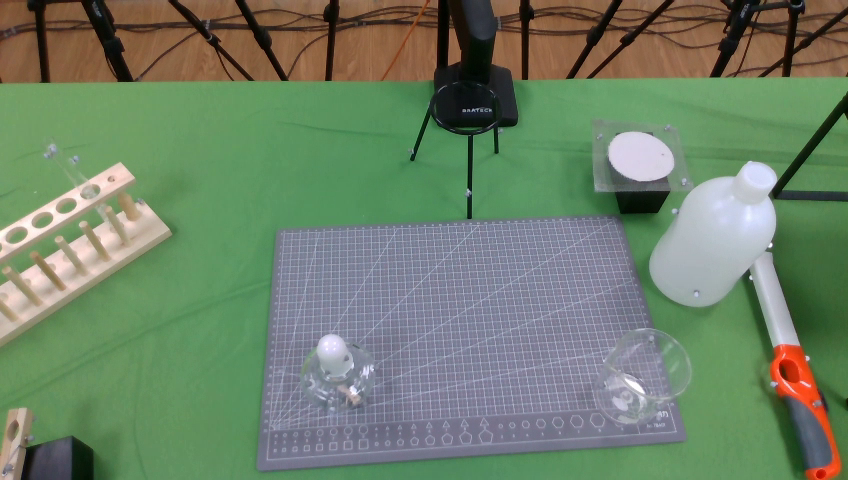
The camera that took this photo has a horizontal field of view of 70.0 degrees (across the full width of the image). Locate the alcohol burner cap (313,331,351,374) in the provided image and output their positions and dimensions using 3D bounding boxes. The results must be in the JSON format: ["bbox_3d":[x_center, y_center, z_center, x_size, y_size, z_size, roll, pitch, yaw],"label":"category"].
[{"bbox_3d":[-0.091,0.107,0.587,0.034,0.048,0.033,-2,57,3],"label":"alcohol burner cap"}]

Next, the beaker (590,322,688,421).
[{"bbox_3d":[0.215,0.140,0.628,0.084,0.101,0.073,2,56,1],"label":"beaker"}]

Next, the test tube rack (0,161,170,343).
[{"bbox_3d":[-0.429,0.017,0.696,0.242,0.086,0.066,-39,66,-24],"label":"test tube rack"}]

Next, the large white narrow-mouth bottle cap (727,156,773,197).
[{"bbox_3d":[0.326,-0.064,0.608,0.038,0.024,0.037,1,57,-1],"label":"large white narrow-mouth bottle cap"}]

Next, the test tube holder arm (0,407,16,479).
[{"bbox_3d":[-0.386,0.200,0.561,0.010,0.015,0.087,-10,62,1],"label":"test tube holder arm"}]

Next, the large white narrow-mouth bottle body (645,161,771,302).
[{"bbox_3d":[0.324,-0.015,0.680,0.102,0.196,0.101,1,56,-1],"label":"large white narrow-mouth bottle body"}]

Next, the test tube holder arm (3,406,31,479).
[{"bbox_3d":[-0.373,0.237,0.540,0.013,0.015,0.176,-10,62,0],"label":"test tube holder arm"}]

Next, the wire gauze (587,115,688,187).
[{"bbox_3d":[0.277,-0.116,0.796,0.121,0.011,0.124,4,57,1],"label":"wire gauze"}]

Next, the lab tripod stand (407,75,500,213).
[{"bbox_3d":[0.047,-0.130,0.781,0.148,0.132,0.147,2,58,-3],"label":"lab tripod stand"}]

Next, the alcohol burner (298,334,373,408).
[{"bbox_3d":[-0.091,0.126,0.618,0.078,0.120,0.077,2,55,-3],"label":"alcohol burner"}]

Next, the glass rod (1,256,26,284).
[{"bbox_3d":[-0.461,-0.012,0.635,0.008,0.201,0.008,3,48,-3],"label":"glass rod"}]

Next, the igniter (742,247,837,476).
[{"bbox_3d":[0.410,0.126,0.691,0.057,0.025,0.274,7,56,-9],"label":"igniter"}]

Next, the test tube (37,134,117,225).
[{"bbox_3d":[-0.391,-0.064,0.691,0.017,0.151,0.017,-2,56,3],"label":"test tube"}]
